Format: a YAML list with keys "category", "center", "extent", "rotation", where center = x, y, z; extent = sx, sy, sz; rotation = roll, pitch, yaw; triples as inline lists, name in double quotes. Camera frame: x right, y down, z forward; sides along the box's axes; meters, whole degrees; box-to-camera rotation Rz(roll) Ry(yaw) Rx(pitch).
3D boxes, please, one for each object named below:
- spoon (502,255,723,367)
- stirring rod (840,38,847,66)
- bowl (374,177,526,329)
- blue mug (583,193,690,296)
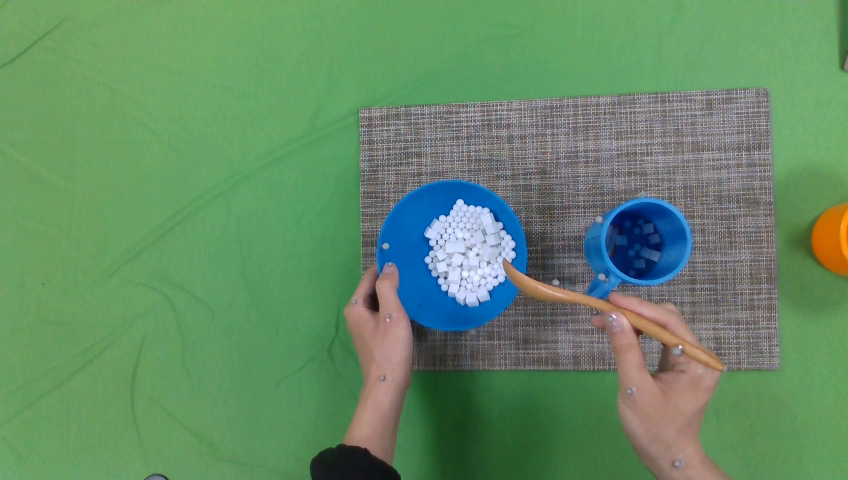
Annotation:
- category: "spoon"
  center: [0.134, 0.050, 0.465]
  extent: [0.192, 0.042, 0.021]
  rotation: [21, 75, 41]
- category: "stirring rod"
  center: [0.459, -0.269, 0.615]
  extent: [0.014, 0.006, 0.177]
  rotation: [6, 111, 1]
- category: "bowl"
  center: [0.026, 0.015, 0.630]
  extent: [0.151, 0.077, 0.151]
  rotation: [0, 87, 0]
- category: "blue mug"
  center: [0.200, 0.013, 0.612]
  extent: [0.082, 0.106, 0.116]
  rotation: [36, 92, 6]
